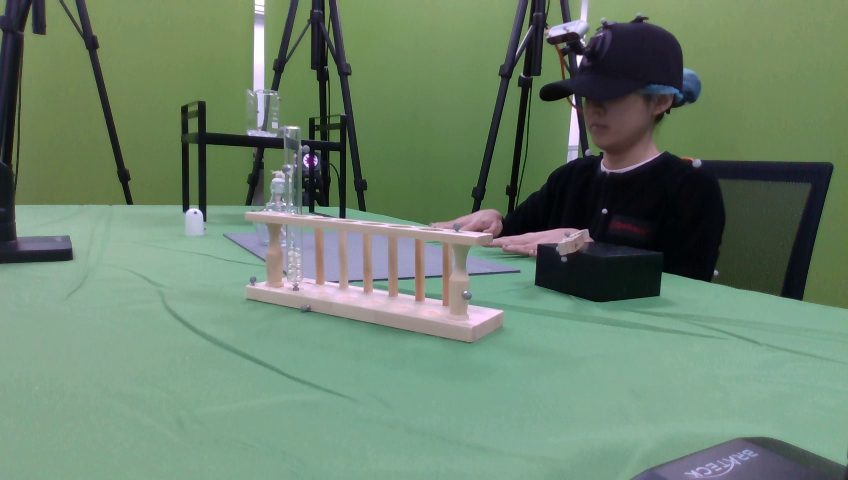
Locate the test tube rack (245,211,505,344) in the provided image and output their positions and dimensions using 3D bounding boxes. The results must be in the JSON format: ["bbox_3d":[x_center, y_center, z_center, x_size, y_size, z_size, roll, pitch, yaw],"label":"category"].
[{"bbox_3d":[-0.049,0.025,0.547,0.241,0.085,0.067,7,8,29],"label":"test tube rack"}]

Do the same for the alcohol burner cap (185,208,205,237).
[{"bbox_3d":[-0.391,-0.031,1.032,0.034,0.048,0.034,3,8,0],"label":"alcohol burner cap"}]

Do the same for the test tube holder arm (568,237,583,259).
[{"bbox_3d":[0.165,0.008,0.661,0.010,0.015,0.088,8,9,18],"label":"test tube holder arm"}]

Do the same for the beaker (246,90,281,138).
[{"bbox_3d":[-0.354,-0.275,1.322,0.074,0.100,0.084,4,8,12],"label":"beaker"}]

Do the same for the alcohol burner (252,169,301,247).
[{"bbox_3d":[-0.228,-0.050,0.936,0.078,0.119,0.078,1,7,0],"label":"alcohol burner"}]

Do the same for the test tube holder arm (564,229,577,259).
[{"bbox_3d":[0.172,0.002,0.706,0.013,0.015,0.179,7,9,13],"label":"test tube holder arm"}]

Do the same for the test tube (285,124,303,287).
[{"bbox_3d":[-0.120,-0.030,0.558,0.017,0.150,0.017,2,10,0],"label":"test tube"}]
